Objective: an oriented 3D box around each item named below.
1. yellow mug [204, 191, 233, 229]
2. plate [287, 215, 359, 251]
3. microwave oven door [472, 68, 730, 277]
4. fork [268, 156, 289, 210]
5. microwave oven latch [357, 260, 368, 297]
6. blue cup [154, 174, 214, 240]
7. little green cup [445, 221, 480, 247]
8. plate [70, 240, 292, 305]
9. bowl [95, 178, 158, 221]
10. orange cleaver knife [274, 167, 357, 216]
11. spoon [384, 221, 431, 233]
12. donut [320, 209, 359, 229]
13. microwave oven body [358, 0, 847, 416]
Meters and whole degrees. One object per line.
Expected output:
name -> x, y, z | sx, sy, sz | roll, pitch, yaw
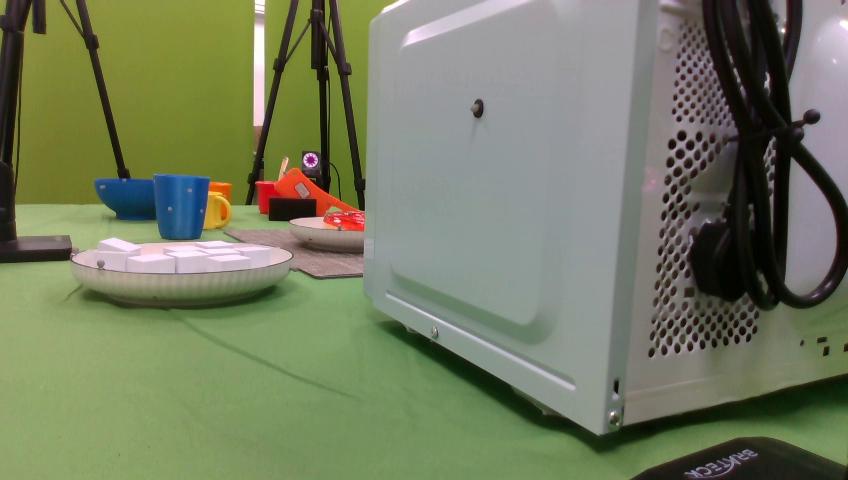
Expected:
yellow mug -> -0.415, -0.057, 1.132 | 0.130, 0.064, 0.100 | 6, 8, 16
plate -> -0.111, -0.012, 0.960 | 0.209, 0.038, 0.209 | 3, 8, 0
microwave oven door -> 0.214, -0.096, 0.820 | 0.039, 0.243, 0.354 | -6, 11, -44
fork -> -0.360, -0.144, 1.508 | 0.028, 0.018, 0.207 | 1, 49, 0
microwave oven latch -> -0.019, 0.033, 0.530 | 0.079, 0.029, 0.030 | -1, 7, -27
blue cup -> -0.390, -0.053, 0.978 | 0.093, 0.100, 0.092 | 3, 6, 0
little green cup -> 0.065, -0.010, 1.035 | 0.061, 0.038, 0.061 | 3, 8, 0
plate -> -0.242, 0.031, 0.618 | 0.208, 0.039, 0.207 | 2, 8, 0
bowl -> -0.576, -0.081, 1.217 | 0.151, 0.077, 0.151 | 3, 8, 0
orange cleaver knife -> -0.238, -0.090, 1.381 | 0.212, 0.077, 0.012 | 31, 0, -19
spoon -> -0.024, -0.029, 1.187 | 0.041, 0.021, 0.194 | -12, 0, 23
donut -> -0.115, -0.023, 0.962 | 0.099, 0.048, 0.099 | 5, 9, 0
microwave oven body -> 0.211, -0.047, 0.474 | 0.444, 0.260, 0.324 | -1, 7, -28
